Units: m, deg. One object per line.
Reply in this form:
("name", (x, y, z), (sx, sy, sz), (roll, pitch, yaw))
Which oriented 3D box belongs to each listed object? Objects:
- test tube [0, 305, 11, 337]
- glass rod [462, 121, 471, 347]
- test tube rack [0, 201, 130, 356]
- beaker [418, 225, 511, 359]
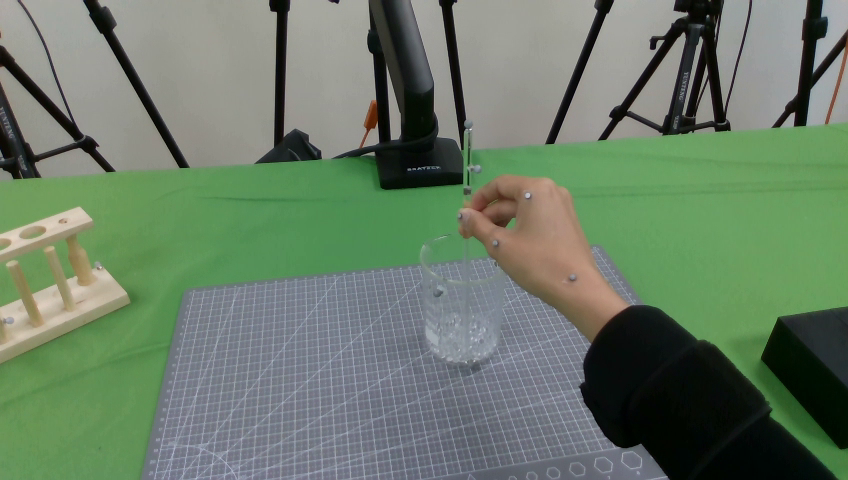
("test tube", (-0.376, 0.021, 0.500), (0.017, 0.151, 0.017), (2, 34, -1))
("glass rod", (0.035, 0.003, 0.485), (0.008, 0.201, 0.008), (-1, 26, 1))
("test tube rack", (-0.401, 0.057, 0.529), (0.242, 0.086, 0.066), (-29, 45, -35))
("beaker", (0.031, 0.047, 0.530), (0.083, 0.101, 0.074), (26, 43, 33))
